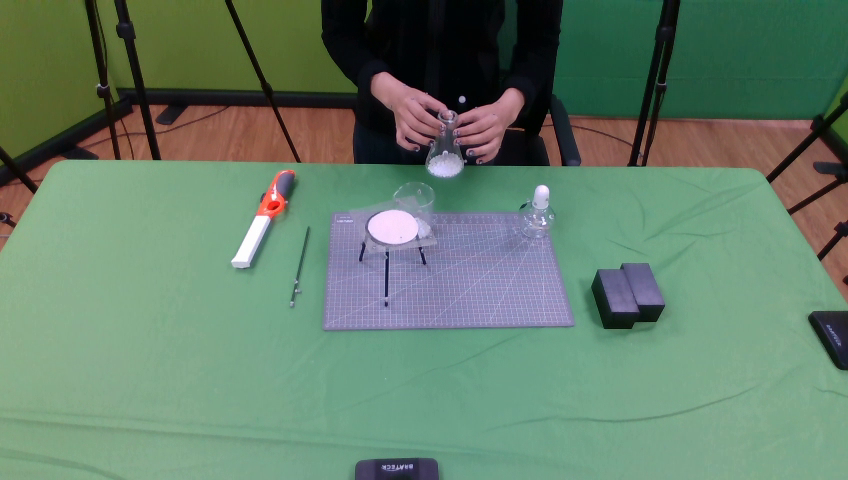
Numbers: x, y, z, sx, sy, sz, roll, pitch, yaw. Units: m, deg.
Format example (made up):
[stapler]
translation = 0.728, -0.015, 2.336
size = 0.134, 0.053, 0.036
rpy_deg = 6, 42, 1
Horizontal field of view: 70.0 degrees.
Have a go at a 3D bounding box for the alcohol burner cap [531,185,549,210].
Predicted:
[alcohol burner cap]
translation = 0.228, -0.085, 1.183
size = 0.034, 0.048, 0.033
rpy_deg = -1, 48, 1

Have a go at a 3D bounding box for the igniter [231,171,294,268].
[igniter]
translation = -0.321, -0.051, 1.220
size = 0.057, 0.025, 0.275
rpy_deg = 2, 45, 11

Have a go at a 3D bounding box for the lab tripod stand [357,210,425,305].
[lab tripod stand]
translation = -0.060, 0.020, 1.094
size = 0.148, 0.132, 0.147
rpy_deg = 3, 44, -2

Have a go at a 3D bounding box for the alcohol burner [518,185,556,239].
[alcohol burner]
translation = 0.227, -0.061, 1.209
size = 0.078, 0.120, 0.077
rpy_deg = 1, 44, -1

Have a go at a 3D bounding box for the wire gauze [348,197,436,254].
[wire gauze]
translation = -0.056, -0.026, 1.045
size = 0.125, 0.011, 0.120
rpy_deg = -12, 47, -17

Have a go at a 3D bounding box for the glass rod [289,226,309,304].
[glass rod]
translation = -0.235, 0.043, 1.149
size = 0.008, 0.008, 0.198
rpy_deg = 3, 46, -1

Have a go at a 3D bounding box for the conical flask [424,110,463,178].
[conical flask]
translation = 0.040, -0.180, 1.122
size = 0.075, 0.122, 0.075
rpy_deg = 2, 46, -2

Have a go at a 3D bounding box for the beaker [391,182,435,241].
[beaker]
translation = -0.023, -0.053, 1.192
size = 0.084, 0.101, 0.073
rpy_deg = -2, 46, -5
